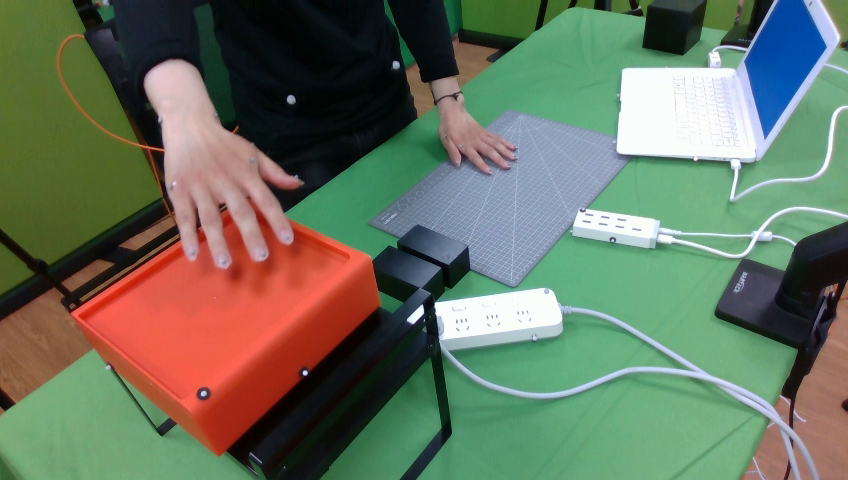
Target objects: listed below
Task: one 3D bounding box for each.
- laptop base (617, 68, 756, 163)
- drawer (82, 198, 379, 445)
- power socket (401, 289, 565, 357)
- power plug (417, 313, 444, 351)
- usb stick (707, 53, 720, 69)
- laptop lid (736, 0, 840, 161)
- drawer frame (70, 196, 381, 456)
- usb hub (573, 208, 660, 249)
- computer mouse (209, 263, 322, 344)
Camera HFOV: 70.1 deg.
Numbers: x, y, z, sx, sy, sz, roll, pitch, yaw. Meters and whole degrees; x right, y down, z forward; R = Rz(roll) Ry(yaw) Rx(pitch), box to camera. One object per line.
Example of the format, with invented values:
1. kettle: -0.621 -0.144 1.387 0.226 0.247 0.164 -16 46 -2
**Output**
1. laptop base: 0.509 -0.255 1.201 0.234 0.023 0.353 4 41 16
2. drawer: -0.185 0.066 0.600 0.193 0.073 0.212 24 50 31
3. power socket: 0.080 0.112 0.822 0.227 0.033 0.072 -7 41 -1
4. power plug: 0.007 0.127 0.786 0.035 0.053 0.072 1 43 9
5. usb stick: 0.629 -0.382 1.313 0.021 0.027 0.059 2 46 17
6. laptop lid: 0.640 -0.327 1.090 0.013 0.242 0.356 16 43 5
7. drawer frame: -0.186 0.068 0.597 0.200 0.083 0.214 23 49 30
8. usb hub: 0.301 -0.019 0.949 0.124 0.025 0.049 11 43 20
9. computer mouse: -0.165 0.062 0.624 0.116 0.041 0.063 23 44 26
